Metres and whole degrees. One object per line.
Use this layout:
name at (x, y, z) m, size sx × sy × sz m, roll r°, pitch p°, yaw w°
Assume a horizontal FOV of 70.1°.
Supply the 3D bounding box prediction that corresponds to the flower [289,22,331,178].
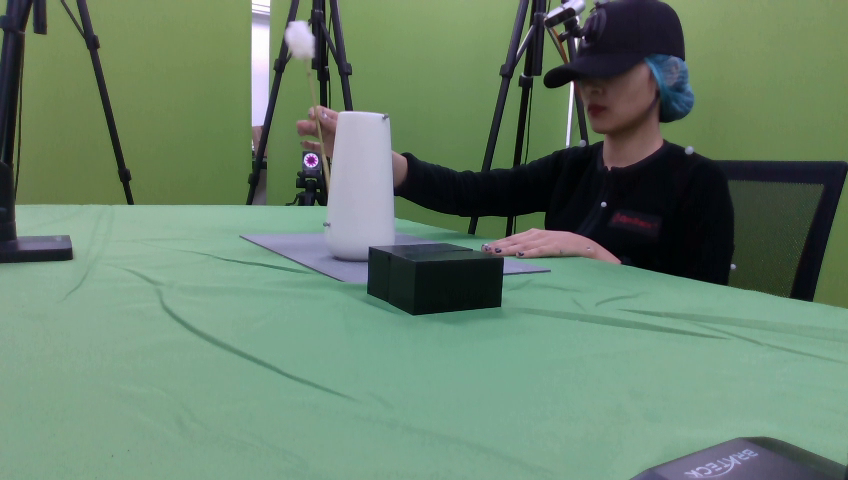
flower at (-0.169, -0.178, 0.990) m, size 0.044 × 0.361 × 0.038 m, roll -14°, pitch -3°, yaw 39°

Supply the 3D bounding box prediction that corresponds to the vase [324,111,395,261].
vase at (-0.087, -0.074, 0.829) m, size 0.098 × 0.200 × 0.098 m, roll 2°, pitch 9°, yaw 0°
